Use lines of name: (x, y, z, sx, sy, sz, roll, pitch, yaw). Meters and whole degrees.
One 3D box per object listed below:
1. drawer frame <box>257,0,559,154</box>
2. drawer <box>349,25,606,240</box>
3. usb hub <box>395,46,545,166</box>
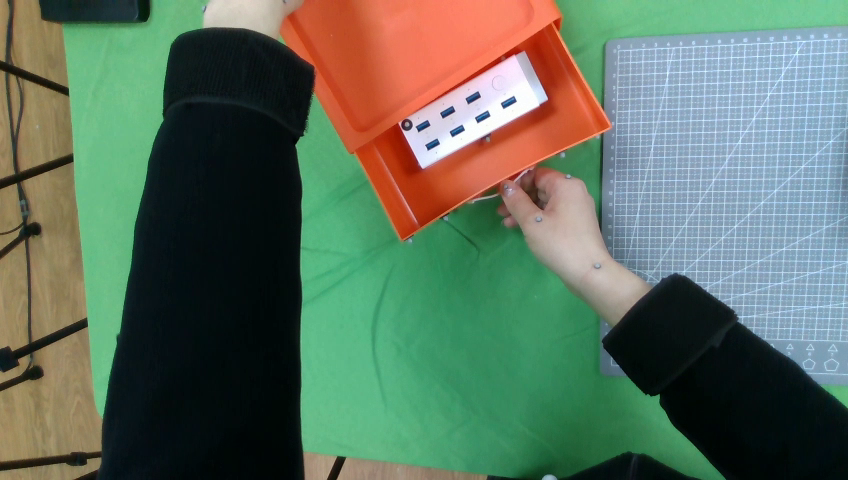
drawer frame: (-0.028, -0.211, 0.502, 0.201, 0.082, 0.213, -30, 93, 15)
drawer: (0.016, -0.136, 0.513, 0.194, 0.073, 0.212, -28, 93, 15)
usb hub: (0.039, -0.115, 0.529, 0.125, 0.025, 0.049, -28, 91, 15)
